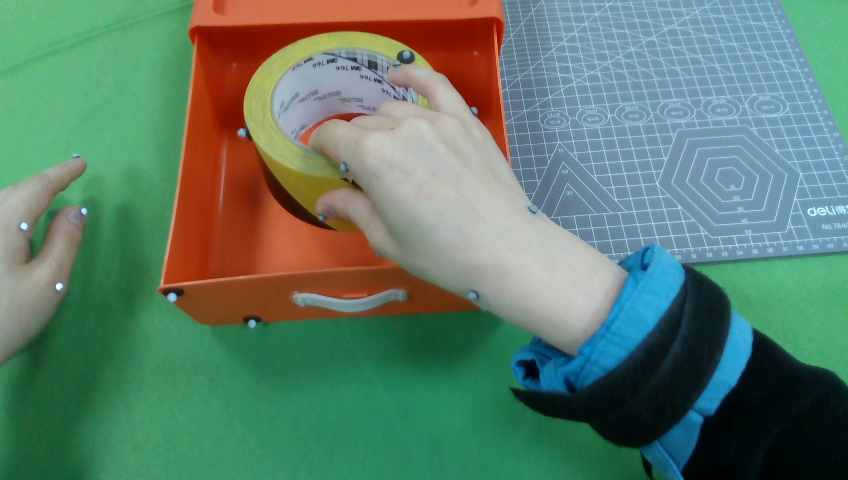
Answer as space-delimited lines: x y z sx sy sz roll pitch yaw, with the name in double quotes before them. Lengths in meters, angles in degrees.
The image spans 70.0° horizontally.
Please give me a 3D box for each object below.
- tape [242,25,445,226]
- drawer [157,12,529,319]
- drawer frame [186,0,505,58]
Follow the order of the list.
"tape" -0.044 -0.067 0.356 0.117 0.053 0.116 1 60 -1
"drawer" -0.046 -0.060 0.382 0.194 0.074 0.210 -3 65 0
"drawer frame" -0.052 -0.213 0.451 0.202 0.083 0.211 -3 64 0
